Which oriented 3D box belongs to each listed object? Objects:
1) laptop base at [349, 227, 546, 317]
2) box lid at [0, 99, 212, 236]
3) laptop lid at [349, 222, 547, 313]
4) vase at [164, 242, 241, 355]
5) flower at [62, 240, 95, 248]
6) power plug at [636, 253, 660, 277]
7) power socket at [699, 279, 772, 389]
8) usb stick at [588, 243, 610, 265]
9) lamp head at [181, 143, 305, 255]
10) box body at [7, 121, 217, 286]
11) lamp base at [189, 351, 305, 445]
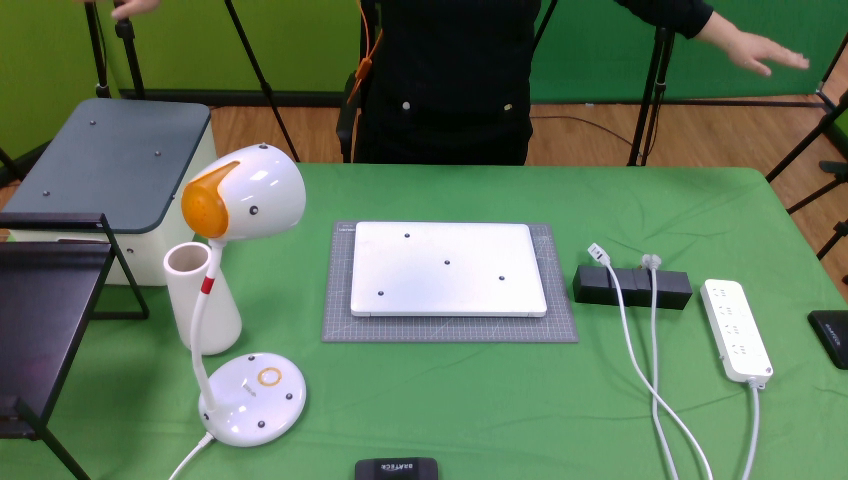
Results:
[{"bbox_3d":[0.040,0.055,1.149,0.355,0.023,0.234,1,42,-4],"label":"laptop base"},{"bbox_3d":[-0.555,-0.143,1.090,0.263,0.015,0.369,2,46,-1],"label":"box lid"},{"bbox_3d":[0.041,0.045,1.143,0.357,0.013,0.240,2,44,-3],"label":"laptop lid"},{"bbox_3d":[-0.349,0.096,0.954,0.098,0.201,0.097,3,47,-3],"label":"vase"},{"bbox_3d":[-0.557,-0.053,1.195,0.044,0.038,0.361,47,54,2],"label":"flower"},{"bbox_3d":[0.415,0.050,1.139,0.035,0.053,0.072,45,49,10],"label":"power plug"},{"bbox_3d":[0.551,0.157,1.081,0.072,0.033,0.225,5,46,1],"label":"power socket"},{"bbox_3d":[0.336,0.024,1.172,0.027,0.021,0.059,33,16,-13],"label":"usb stick"},{"bbox_3d":[-0.216,-0.044,0.697,0.112,0.113,0.123,23,31,17],"label":"lamp head"},{"bbox_3d":[-0.560,-0.092,1.145,0.254,0.161,0.361,3,46,-2],"label":"box body"},{"bbox_3d":[-0.268,0.196,0.876,0.160,0.181,0.179,26,52,20],"label":"lamp base"}]
